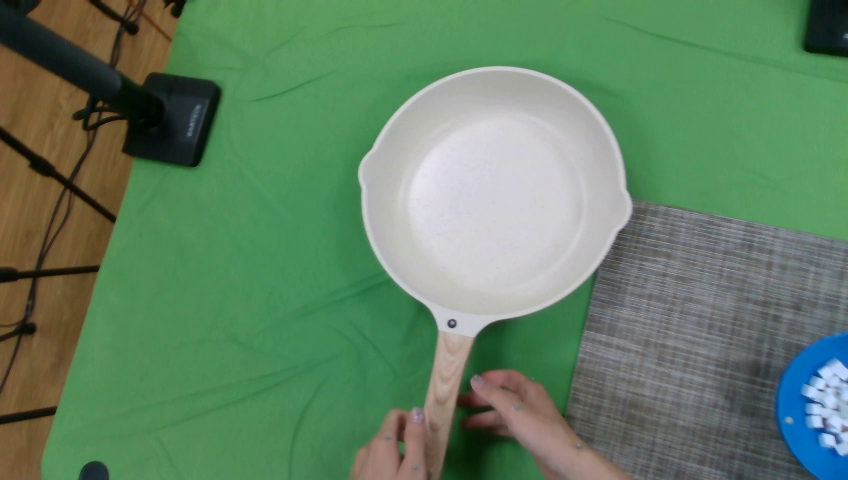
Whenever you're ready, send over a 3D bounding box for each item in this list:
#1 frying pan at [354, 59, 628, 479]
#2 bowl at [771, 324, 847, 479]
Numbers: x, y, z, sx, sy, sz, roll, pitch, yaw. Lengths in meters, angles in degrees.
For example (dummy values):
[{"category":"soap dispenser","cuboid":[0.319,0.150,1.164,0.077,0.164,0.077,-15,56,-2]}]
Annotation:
[{"category":"frying pan","cuboid":[0.046,0.037,0.670,0.306,0.103,0.485,12,74,13]},{"category":"bowl","cuboid":[0.409,0.158,0.589,0.151,0.077,0.150,-2,79,11]}]
